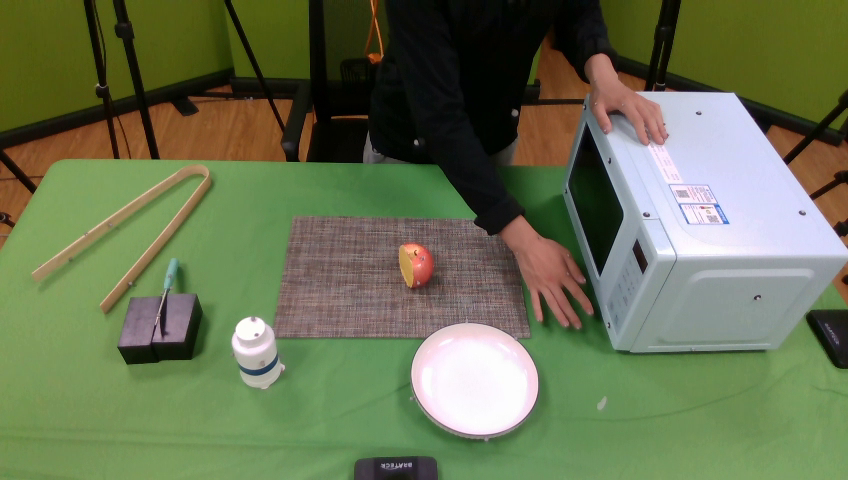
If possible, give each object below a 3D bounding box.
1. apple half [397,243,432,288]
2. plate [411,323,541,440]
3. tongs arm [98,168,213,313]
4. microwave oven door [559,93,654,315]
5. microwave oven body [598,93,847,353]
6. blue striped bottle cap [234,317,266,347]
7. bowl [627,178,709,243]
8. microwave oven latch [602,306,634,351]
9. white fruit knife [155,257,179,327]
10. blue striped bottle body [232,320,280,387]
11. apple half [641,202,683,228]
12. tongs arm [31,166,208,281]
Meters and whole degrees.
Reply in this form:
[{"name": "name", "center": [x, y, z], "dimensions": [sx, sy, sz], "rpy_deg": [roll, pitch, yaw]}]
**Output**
[{"name": "apple half", "center": [-0.013, 0.047, 1.115], "dimensions": [0.053, 0.075, 0.080], "rpy_deg": [-10, 43, -21]}, {"name": "plate", "center": [0.082, 0.228, 0.976], "dimensions": [0.208, 0.039, 0.206], "rpy_deg": [2, 45, -2]}, {"name": "tongs arm", "center": [-0.503, -0.012, 1.167], "dimensions": [0.028, 0.028, 0.385], "rpy_deg": [11, 46, 11]}, {"name": "microwave oven door", "center": [0.327, -0.074, 1.123], "dimensions": [0.039, 0.245, 0.353], "rpy_deg": [-1, 46, -5]}, {"name": "microwave oven body", "center": [0.476, -0.041, 1.110], "dimensions": [0.326, 0.261, 0.438], "rpy_deg": [-1, 45, -4]}, {"name": "blue striped bottle cap", "center": [-0.260, 0.137, 0.906], "dimensions": [0.044, 0.021, 0.044], "rpy_deg": [5, 42, -4]}, {"name": "bowl", "center": [0.456, -0.047, 1.167], "dimensions": [0.151, 0.077, 0.150], "rpy_deg": [7, 36, -5]}, {"name": "microwave oven latch", "center": [0.332, 0.153, 1.044], "dimensions": [0.030, 0.029, 0.078], "rpy_deg": [-1, 45, -4]}, {"name": "white fruit knife", "center": [-0.440, 0.085, 1.037], "dimensions": [0.016, 0.027, 0.206], "rpy_deg": [10, 26, -19]}, {"name": "blue striped bottle body", "center": [-0.262, 0.171, 0.944], "dimensions": [0.063, 0.121, 0.062], "rpy_deg": [2, 46, -2]}, {"name": "apple half", "center": [0.458, -0.055, 1.160], "dimensions": [0.081, 0.033, 0.081], "rpy_deg": [-1, 31, 1]}, {"name": "tongs arm", "center": [-0.578, -0.040, 1.184], "dimensions": [0.050, 0.026, 0.384], "rpy_deg": [23, 47, 17]}]
